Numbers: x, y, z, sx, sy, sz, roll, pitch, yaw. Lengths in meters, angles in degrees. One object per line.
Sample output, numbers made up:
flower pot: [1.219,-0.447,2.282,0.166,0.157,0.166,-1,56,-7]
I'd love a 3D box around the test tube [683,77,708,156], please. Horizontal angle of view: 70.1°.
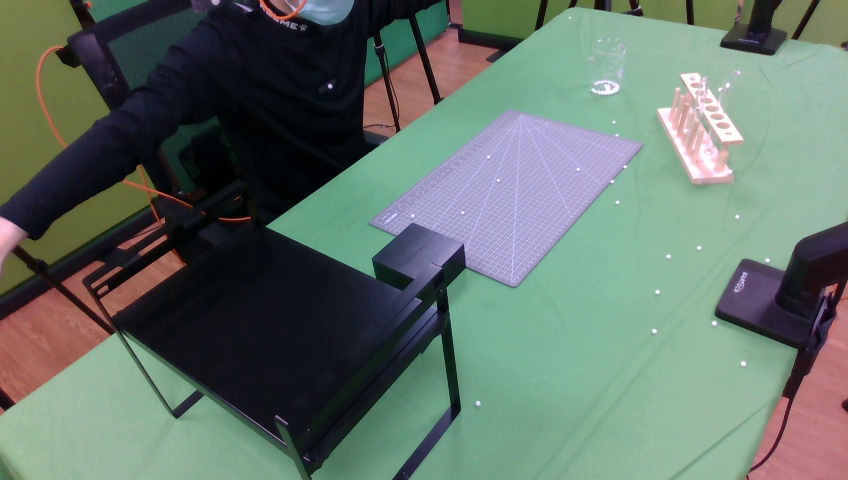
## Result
test tube: [0.463,-0.209,1.033,0.017,0.151,0.017,-4,43,4]

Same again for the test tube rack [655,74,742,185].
test tube rack: [0.488,-0.205,1.093,0.067,0.085,0.241,-3,41,5]

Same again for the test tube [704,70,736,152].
test tube: [0.501,-0.216,1.028,0.017,0.151,0.017,-2,40,2]

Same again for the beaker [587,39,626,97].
beaker: [0.386,-0.361,1.280,0.074,0.101,0.083,-22,43,-15]
